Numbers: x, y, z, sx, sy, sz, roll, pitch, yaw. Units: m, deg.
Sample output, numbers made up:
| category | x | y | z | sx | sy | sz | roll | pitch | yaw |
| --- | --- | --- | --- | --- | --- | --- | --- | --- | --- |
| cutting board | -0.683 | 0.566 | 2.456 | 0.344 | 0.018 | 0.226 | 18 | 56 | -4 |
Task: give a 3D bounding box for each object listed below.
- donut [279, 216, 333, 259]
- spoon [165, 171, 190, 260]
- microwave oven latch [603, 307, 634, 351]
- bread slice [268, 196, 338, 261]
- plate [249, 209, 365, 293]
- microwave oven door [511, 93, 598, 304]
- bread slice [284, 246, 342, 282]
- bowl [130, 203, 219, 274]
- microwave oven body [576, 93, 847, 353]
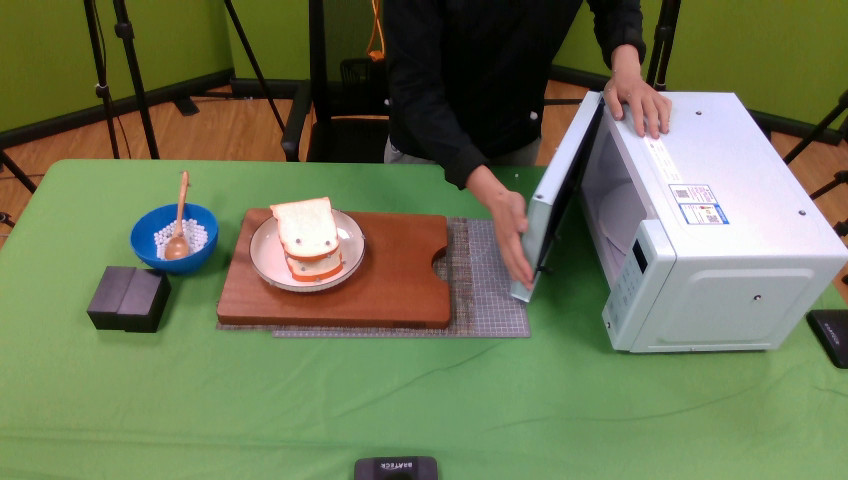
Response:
| category | x | y | z | sx | sy | sz | roll | pitch | yaw |
| --- | --- | --- | --- | --- | --- | --- | --- | --- | --- |
| donut | -0.213 | -0.005 | 1.097 | 0.099 | 0.048 | 0.098 | -2 | 41 | 2 |
| spoon | -0.452 | -0.046 | 1.129 | 0.041 | 0.022 | 0.193 | -2 | 69 | -1 |
| microwave oven latch | 0.332 | 0.153 | 1.044 | 0.030 | 0.029 | 0.078 | 0 | 45 | -3 |
| bread slice | -0.207 | -0.020 | 1.071 | 0.107 | 0.018 | 0.133 | -14 | 55 | -18 |
| plate | -0.212 | 0.021 | 1.113 | 0.208 | 0.039 | 0.206 | 3 | 45 | -2 |
| microwave oven door | 0.250 | -0.087 | 1.130 | 0.039 | 0.245 | 0.354 | 19 | 47 | 14 |
| bread slice | -0.205 | 0.024 | 1.115 | 0.105 | 0.019 | 0.130 | -13 | 45 | -14 |
| bowl | -0.450 | 0.010 | 1.117 | 0.151 | 0.077 | 0.150 | 3 | 45 | -2 |
| microwave oven body | 0.475 | -0.041 | 1.110 | 0.326 | 0.261 | 0.438 | -1 | 45 | -4 |
